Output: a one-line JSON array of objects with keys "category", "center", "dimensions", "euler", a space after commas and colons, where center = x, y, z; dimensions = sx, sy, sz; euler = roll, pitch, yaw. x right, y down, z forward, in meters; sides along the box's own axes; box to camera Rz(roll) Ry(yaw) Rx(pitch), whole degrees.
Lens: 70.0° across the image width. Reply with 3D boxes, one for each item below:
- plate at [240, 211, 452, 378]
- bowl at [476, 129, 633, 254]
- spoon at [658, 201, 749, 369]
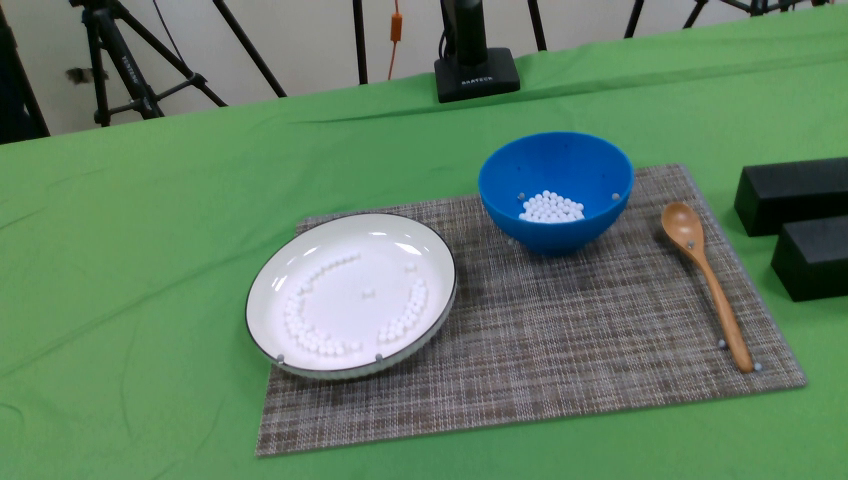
[{"category": "plate", "center": [-0.074, 0.052, 0.598], "dimensions": [0.207, 0.039, 0.205], "euler": [-6, 43, 6]}, {"category": "bowl", "center": [0.131, -0.039, 0.618], "dimensions": [0.151, 0.077, 0.150], "euler": [-6, 43, 6]}, {"category": "spoon", "center": [0.256, 0.033, 0.554], "dimensions": [0.042, 0.022, 0.192], "euler": [6, 42, -6]}]
